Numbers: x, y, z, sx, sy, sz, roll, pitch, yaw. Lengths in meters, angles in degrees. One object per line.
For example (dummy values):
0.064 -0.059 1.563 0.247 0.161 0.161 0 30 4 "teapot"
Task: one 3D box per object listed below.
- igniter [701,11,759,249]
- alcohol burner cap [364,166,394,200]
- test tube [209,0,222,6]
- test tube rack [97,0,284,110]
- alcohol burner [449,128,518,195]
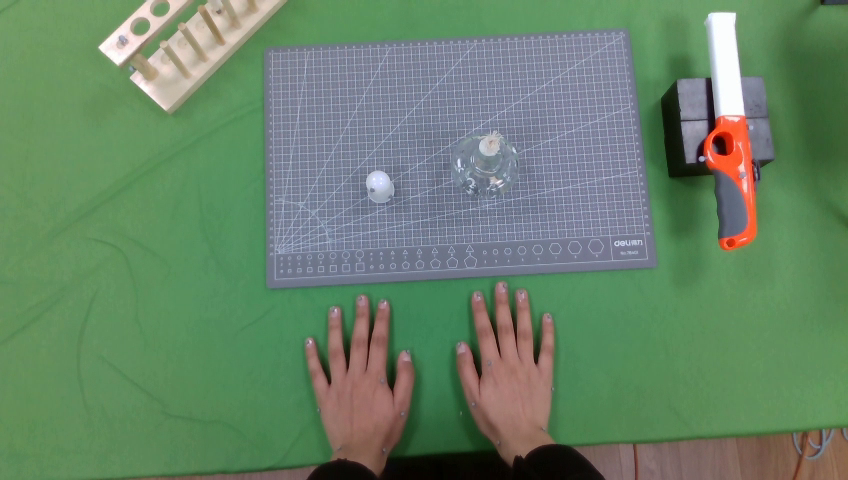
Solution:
0.334 -0.125 0.668 0.057 0.025 0.275 1 78 3 "igniter"
-0.052 -0.068 0.695 0.034 0.048 0.033 -1 79 4 "alcohol burner cap"
-0.253 -0.310 0.669 0.017 0.151 0.017 0 74 1 "test tube"
-0.251 -0.274 0.712 0.066 0.085 0.242 42 82 8 "test tube rack"
0.067 -0.091 0.663 0.078 0.119 0.077 0 78 -1 "alcohol burner"
